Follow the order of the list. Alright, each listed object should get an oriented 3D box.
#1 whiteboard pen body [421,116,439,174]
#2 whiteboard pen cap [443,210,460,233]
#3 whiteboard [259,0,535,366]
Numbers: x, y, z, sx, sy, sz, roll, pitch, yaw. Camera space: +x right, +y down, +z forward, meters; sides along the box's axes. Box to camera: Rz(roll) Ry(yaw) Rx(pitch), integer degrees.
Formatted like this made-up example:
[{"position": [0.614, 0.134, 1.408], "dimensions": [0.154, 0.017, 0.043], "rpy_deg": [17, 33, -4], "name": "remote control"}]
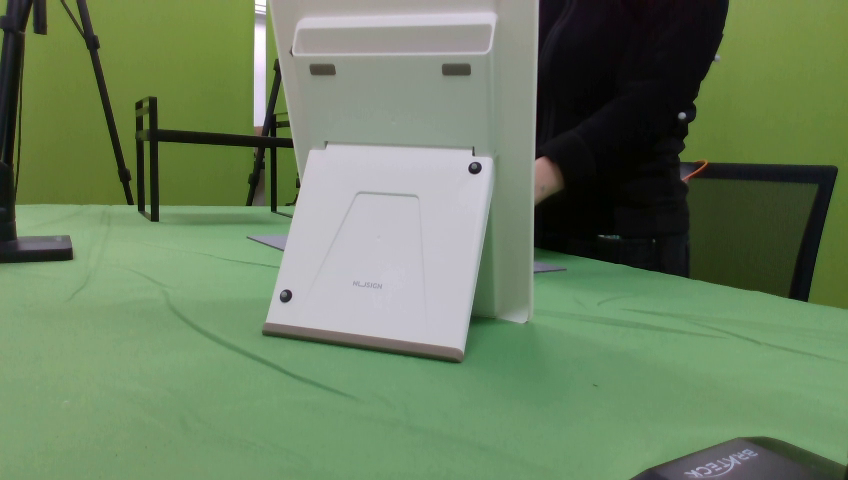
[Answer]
[{"position": [0.008, -0.147, 0.938], "dimensions": [0.017, 0.017, 0.140], "rpy_deg": [3, 45, 7], "name": "whiteboard pen body"}, {"position": [0.038, -0.024, 0.840], "dimensions": [0.018, 0.033, 0.018], "rpy_deg": [16, 32, -10], "name": "whiteboard pen cap"}, {"position": [-0.037, -0.040, 0.457], "dimensions": [0.216, 0.305, 0.144], "rpy_deg": [5, 28, 19], "name": "whiteboard"}]
